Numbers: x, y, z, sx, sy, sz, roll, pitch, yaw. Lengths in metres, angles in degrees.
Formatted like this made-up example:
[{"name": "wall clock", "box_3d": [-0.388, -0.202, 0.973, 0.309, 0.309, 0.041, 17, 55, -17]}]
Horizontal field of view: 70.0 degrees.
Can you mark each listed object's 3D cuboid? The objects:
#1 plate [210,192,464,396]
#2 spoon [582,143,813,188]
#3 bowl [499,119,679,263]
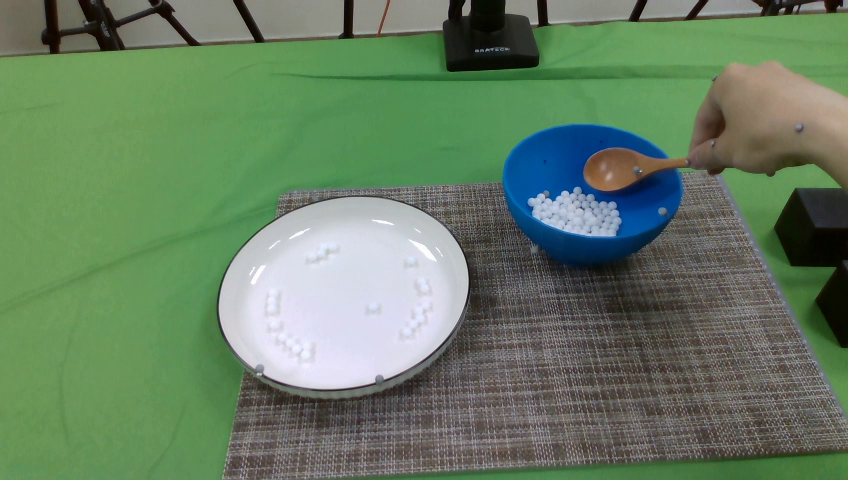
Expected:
[{"name": "plate", "box_3d": [-0.070, 0.043, 0.513, 0.207, 0.039, 0.205, -1, 47, 2]}, {"name": "spoon", "box_3d": [0.207, -0.063, 0.489, 0.192, 0.022, 0.041, 6, 79, 58]}, {"name": "bowl", "box_3d": [0.140, -0.032, 0.543, 0.151, 0.077, 0.150, -1, 47, 2]}]
